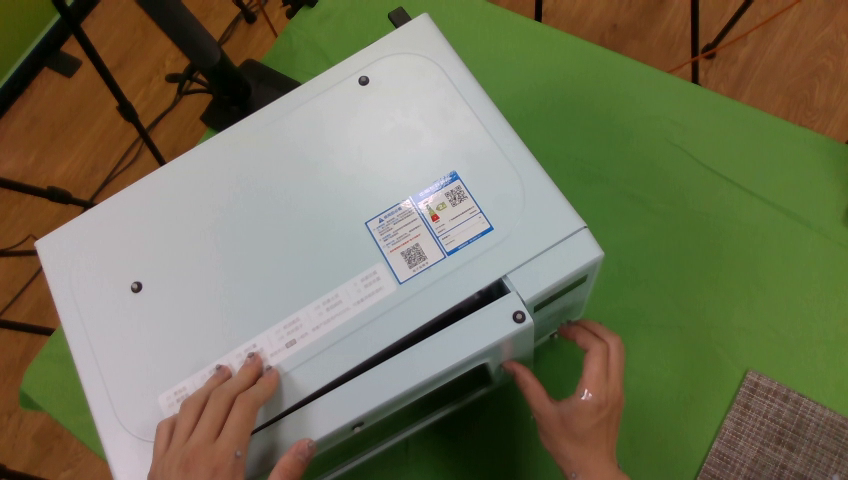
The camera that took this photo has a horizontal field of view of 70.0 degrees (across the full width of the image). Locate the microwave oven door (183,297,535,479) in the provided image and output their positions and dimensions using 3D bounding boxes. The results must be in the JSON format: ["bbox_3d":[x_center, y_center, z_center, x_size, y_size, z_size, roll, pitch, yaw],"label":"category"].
[{"bbox_3d":[-0.056,0.175,0.585,0.356,0.246,0.039,-29,67,-1],"label":"microwave oven door"}]

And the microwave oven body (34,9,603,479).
[{"bbox_3d":[-0.097,0.033,0.647,0.442,0.262,0.323,-32,69,-2],"label":"microwave oven body"}]

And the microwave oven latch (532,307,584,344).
[{"bbox_3d":[0.144,0.090,0.692,0.079,0.030,0.030,-31,69,-2],"label":"microwave oven latch"}]

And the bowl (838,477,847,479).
[{"bbox_3d":[0.414,0.298,0.567,0.151,0.077,0.150,-3,70,9],"label":"bowl"}]
